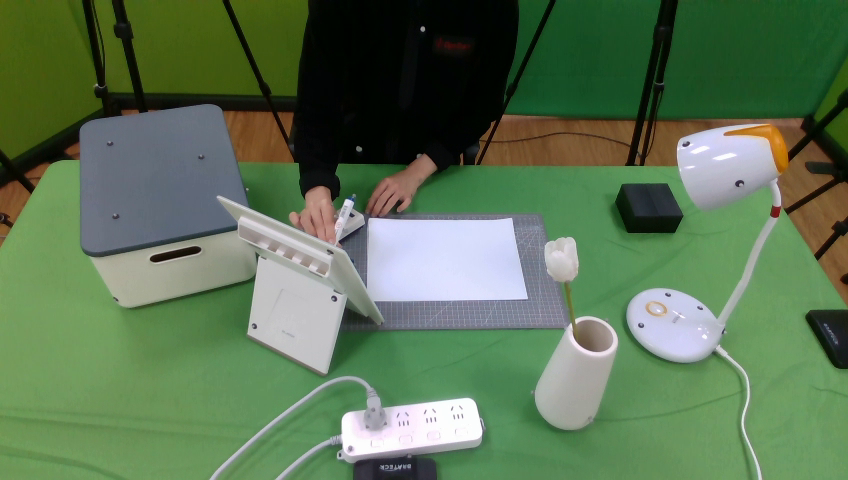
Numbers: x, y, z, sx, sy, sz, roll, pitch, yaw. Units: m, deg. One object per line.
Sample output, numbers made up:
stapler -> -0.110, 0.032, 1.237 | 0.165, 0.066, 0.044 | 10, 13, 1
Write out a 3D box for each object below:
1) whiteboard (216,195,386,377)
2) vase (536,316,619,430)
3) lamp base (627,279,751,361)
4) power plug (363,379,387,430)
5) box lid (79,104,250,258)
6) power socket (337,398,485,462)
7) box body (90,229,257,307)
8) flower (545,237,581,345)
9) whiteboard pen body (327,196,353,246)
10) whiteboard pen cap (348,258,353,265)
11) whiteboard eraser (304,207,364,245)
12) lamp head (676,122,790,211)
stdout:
whiteboard -> -0.212, 0.093, 0.939 | 0.216, 0.307, 0.143 | 24, 70, 17
vase -> 0.229, 0.200, 0.901 | 0.098, 0.201, 0.097 | 3, 46, -3
lamp base -> 0.460, 0.100, 1.027 | 0.178, 0.181, 0.160 | 27, 51, 17
power plug -> -0.071, 0.252, 0.911 | 0.035, 0.053, 0.072 | 3, 40, 0
box lid -> -0.467, -0.120, 1.075 | 0.264, 0.015, 0.369 | -13, 49, -17
power socket -> -0.018, 0.285, 0.914 | 0.227, 0.033, 0.071 | -4, 46, -8
box body -> -0.471, -0.070, 1.131 | 0.254, 0.161, 0.361 | -14, 49, -17
flower -> 0.213, 0.137, 0.846 | 0.038, 0.364, 0.044 | 21, 55, 39
whiteboard pen body -> -0.148, -0.008, 1.004 | 0.017, 0.017, 0.140 | 18, 77, 12
whiteboard pen cap -> -0.152, 0.041, 1.146 | 0.033, 0.018, 0.018 | 12, 47, 10
whiteboard eraser -> -0.175, -0.022, 1.188 | 0.055, 0.042, 0.112 | 36, 53, 26
lamp head -> 0.423, -0.104, 0.819 | 0.122, 0.113, 0.112 | -13, 33, 40
